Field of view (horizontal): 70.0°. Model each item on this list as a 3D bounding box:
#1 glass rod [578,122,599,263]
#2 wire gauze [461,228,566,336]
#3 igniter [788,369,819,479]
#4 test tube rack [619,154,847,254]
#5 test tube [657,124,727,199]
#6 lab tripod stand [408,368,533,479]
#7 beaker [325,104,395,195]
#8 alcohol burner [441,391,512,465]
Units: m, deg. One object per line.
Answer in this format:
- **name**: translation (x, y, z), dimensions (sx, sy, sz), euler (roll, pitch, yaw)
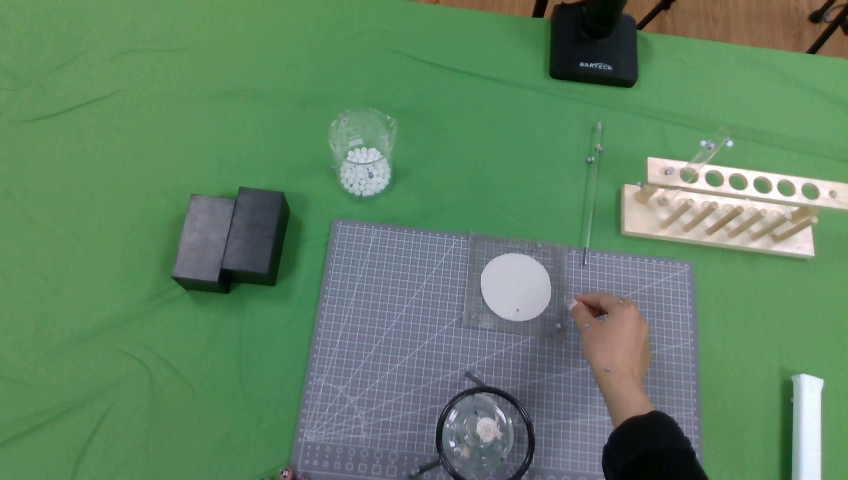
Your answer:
- **glass rod**: translation (0.212, -0.064, 0.776), dimensions (0.008, 0.008, 0.198), euler (12, 72, 0)
- **wire gauze**: translation (0.108, 0.047, 0.727), dimensions (0.125, 0.011, 0.120), euler (8, 69, 0)
- **igniter**: translation (0.412, 0.279, 0.661), dimensions (0.057, 0.025, 0.275), euler (17, 70, -9)
- **test tube rack**: translation (0.373, -0.042, 0.740), dimensions (0.242, 0.085, 0.066), euler (7, 70, -2)
- **test tube**: translation (0.305, -0.086, 0.698), dimensions (0.017, 0.151, 0.017), euler (1, 67, -3)
- **lab tripod stand**: translation (0.049, 0.192, 0.605), dimensions (0.148, 0.132, 0.147), euler (1, 69, -2)
- **beaker**: translation (-0.073, -0.105, 0.721), dimensions (0.084, 0.101, 0.073), euler (-31, 75, -14)
- **alcohol burner**: translation (0.054, 0.189, 0.617), dimensions (0.078, 0.119, 0.077), euler (2, 69, -5)
